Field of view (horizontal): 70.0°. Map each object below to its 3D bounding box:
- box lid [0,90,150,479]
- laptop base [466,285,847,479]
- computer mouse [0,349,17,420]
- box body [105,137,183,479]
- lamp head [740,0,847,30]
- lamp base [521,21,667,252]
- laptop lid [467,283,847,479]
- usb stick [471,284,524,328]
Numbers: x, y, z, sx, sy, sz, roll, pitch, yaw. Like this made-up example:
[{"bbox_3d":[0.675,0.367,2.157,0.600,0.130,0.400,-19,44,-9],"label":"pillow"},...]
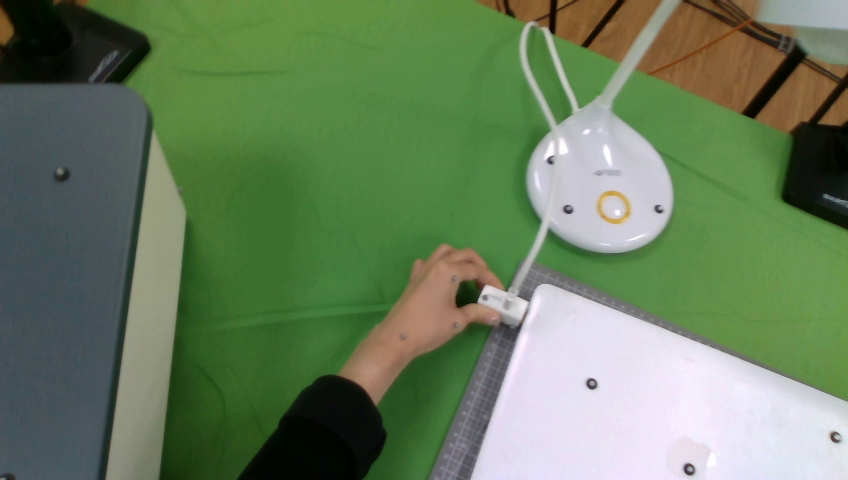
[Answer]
[{"bbox_3d":[-0.327,0.053,0.383,0.264,0.015,0.368,-2,66,-7],"label":"box lid"},{"bbox_3d":[0.227,0.203,0.540,0.354,0.023,0.234,21,67,4],"label":"laptop base"},{"bbox_3d":[-0.369,0.128,0.480,0.063,0.041,0.116,-28,31,-9],"label":"computer mouse"},{"bbox_3d":[-0.335,0.087,0.448,0.255,0.161,0.361,-2,65,-8],"label":"box body"},{"bbox_3d":[0.236,-0.174,0.319,0.112,0.111,0.123,-5,109,-8],"label":"lamp head"},{"bbox_3d":[0.187,-0.105,0.591,0.161,0.181,0.177,-12,64,-12],"label":"lamp base"},{"bbox_3d":[0.227,0.199,0.528,0.356,0.013,0.240,23,67,4],"label":"laptop lid"},{"bbox_3d":[0.076,0.066,0.573,0.059,0.027,0.021,25,64,4],"label":"usb stick"}]
